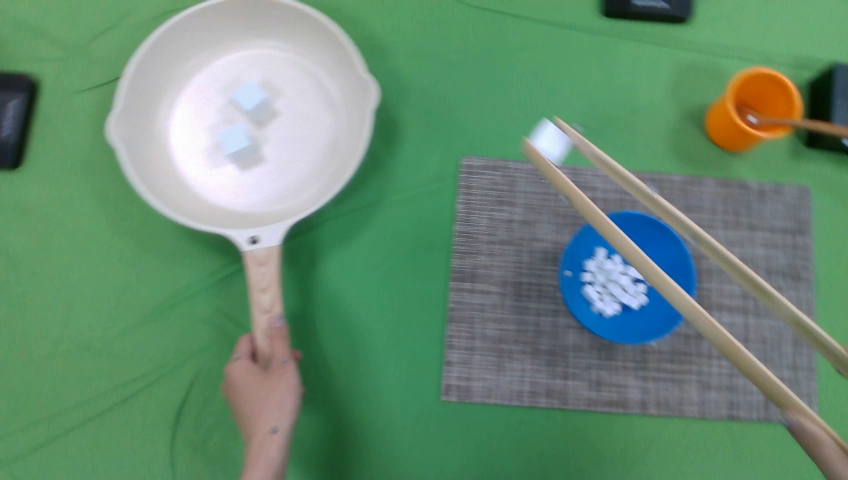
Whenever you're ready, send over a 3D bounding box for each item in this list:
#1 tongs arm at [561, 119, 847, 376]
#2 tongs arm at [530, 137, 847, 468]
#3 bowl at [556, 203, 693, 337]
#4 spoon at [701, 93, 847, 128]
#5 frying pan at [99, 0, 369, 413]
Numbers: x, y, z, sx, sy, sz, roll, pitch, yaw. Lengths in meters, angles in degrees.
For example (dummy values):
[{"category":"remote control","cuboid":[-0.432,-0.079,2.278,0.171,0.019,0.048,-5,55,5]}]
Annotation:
[{"category":"tongs arm","cuboid":[0.233,0.024,0.496,0.051,0.027,0.381,-36,61,-14]},{"category":"tongs arm","cuboid":[0.211,0.038,0.491,0.028,0.028,0.383,-31,60,-15]},{"category":"bowl","cuboid":[0.220,0.039,0.702,0.151,0.077,0.150,1,79,-2]},{"category":"spoon","cuboid":[0.420,-0.150,0.713,0.041,0.192,0.022,-50,128,-12]},{"category":"frying pan","cuboid":[-0.197,-0.049,0.691,0.307,0.103,0.484,-10,72,-3]}]
